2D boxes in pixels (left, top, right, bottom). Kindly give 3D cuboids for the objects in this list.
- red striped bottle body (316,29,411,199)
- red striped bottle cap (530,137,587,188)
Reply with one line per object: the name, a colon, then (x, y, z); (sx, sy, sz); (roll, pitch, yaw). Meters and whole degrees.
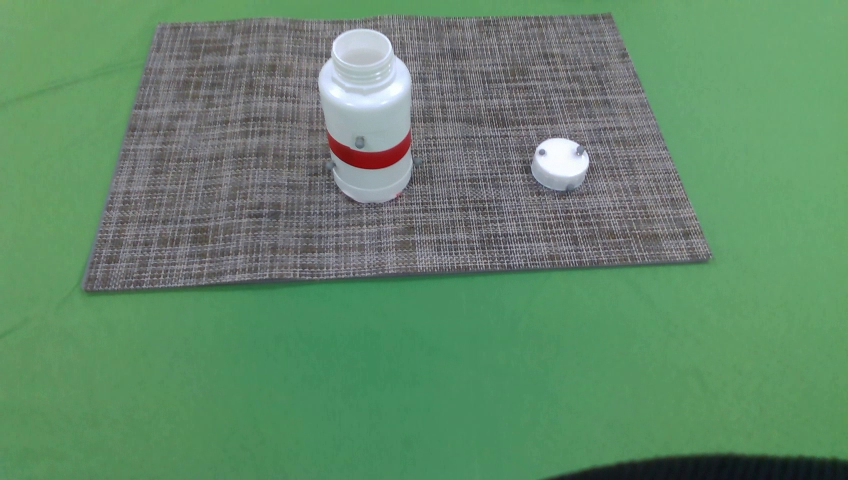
red striped bottle body: (-0.042, -0.089, 0.436); (0.063, 0.120, 0.062); (1, 55, 0)
red striped bottle cap: (0.108, -0.063, 0.488); (0.044, 0.018, 0.044); (1, 52, -1)
